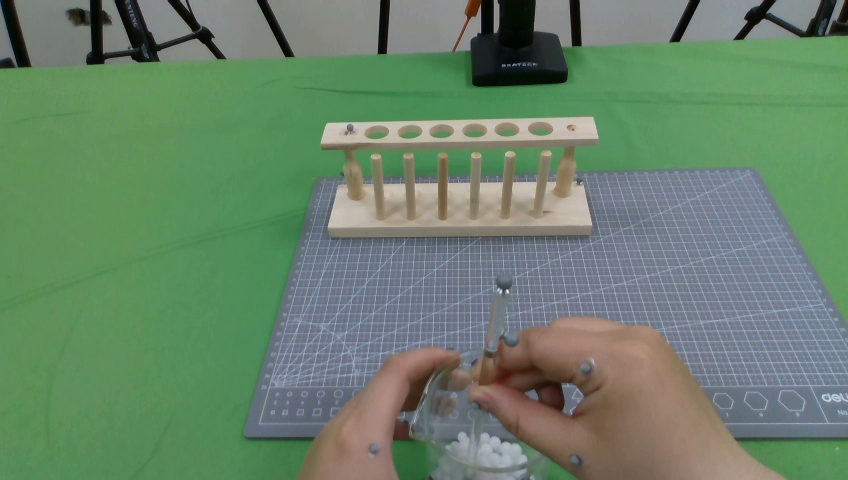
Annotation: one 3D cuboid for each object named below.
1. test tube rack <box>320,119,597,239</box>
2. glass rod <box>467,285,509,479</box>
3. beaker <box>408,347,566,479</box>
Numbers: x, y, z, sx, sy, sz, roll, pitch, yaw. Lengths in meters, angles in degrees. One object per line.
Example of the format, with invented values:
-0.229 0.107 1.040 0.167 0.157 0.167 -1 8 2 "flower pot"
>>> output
0.030 -0.055 0.555 0.242 0.086 0.066 0 43 4 "test tube rack"
0.031 0.084 0.307 0.008 0.201 0.008 0 49 0 "glass rod"
0.033 0.123 0.346 0.084 0.101 0.073 -12 43 -12 "beaker"
